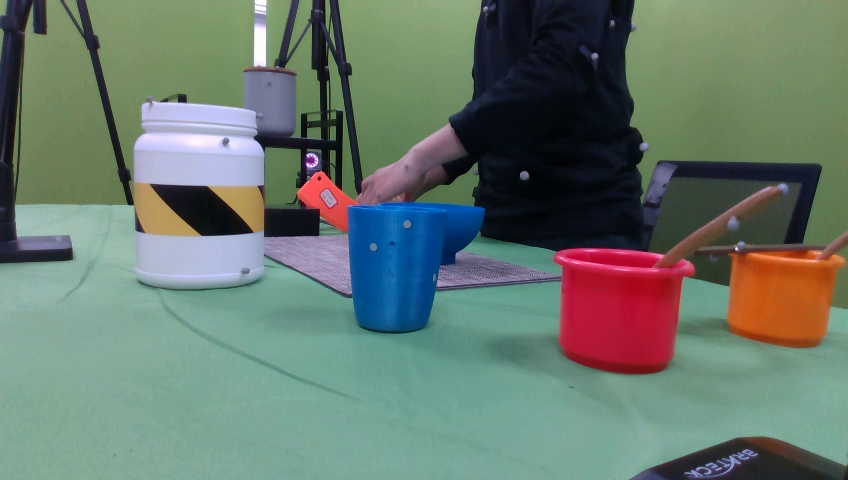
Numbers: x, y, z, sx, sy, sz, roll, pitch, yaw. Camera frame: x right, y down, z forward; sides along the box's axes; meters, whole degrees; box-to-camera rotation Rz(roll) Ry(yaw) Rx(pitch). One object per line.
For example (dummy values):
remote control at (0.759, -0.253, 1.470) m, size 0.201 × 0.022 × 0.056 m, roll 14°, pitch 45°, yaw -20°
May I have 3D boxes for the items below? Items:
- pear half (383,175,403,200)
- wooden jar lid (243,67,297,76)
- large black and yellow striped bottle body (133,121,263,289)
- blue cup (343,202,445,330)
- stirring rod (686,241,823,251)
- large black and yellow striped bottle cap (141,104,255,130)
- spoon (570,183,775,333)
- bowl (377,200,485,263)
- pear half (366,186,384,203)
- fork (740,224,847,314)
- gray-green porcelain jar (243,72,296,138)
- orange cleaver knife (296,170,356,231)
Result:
pear half at (-0.057, -0.061, 1.081) m, size 0.056 × 0.110 × 0.076 m, roll -2°, pitch 15°, yaw -21°
wooden jar lid at (-0.319, -0.342, 1.254) m, size 0.108 × 0.020 × 0.108 m, roll 3°, pitch 8°, yaw 0°
large black and yellow striped bottle body at (-0.243, -0.048, 0.659) m, size 0.131 × 0.184 × 0.130 m, roll 2°, pitch 7°, yaw 0°
blue cup at (-0.027, 0.021, 0.510) m, size 0.093 × 0.100 × 0.092 m, roll 3°, pitch 5°, yaw 0°
stirring rod at (0.289, 0.005, 0.525) m, size 0.177 × 0.006 × 0.014 m, roll -1°, pitch 5°, yaw -26°
large black and yellow striped bottle cap at (-0.241, -0.131, 0.650) m, size 0.115 × 0.019 × 0.115 m, roll 3°, pitch 8°, yaw 0°
spoon at (0.160, 0.020, 0.413) m, size 0.042 × 0.021 × 0.193 m, roll 0°, pitch -36°, yaw -24°
bowl at (0.008, -0.012, 0.842) m, size 0.151 × 0.077 × 0.151 m, roll 3°, pitch 7°, yaw 0°
pear half at (-0.091, -0.053, 1.072) m, size 0.031 × 0.088 × 0.070 m, roll 0°, pitch 14°, yaw -22°
fork at (0.323, 0.013, 0.485) m, size 0.028 × 0.018 × 0.207 m, roll 9°, pitch -38°, yaw -5°
gray-green porcelain jar at (-0.322, -0.279, 1.263) m, size 0.106 × 0.126 × 0.106 m, roll 3°, pitch 8°, yaw 0°
orange cleaver knife at (-0.150, -0.058, 1.170) m, size 0.212 × 0.077 × 0.012 m, roll 33°, pitch -14°, yaw -32°
